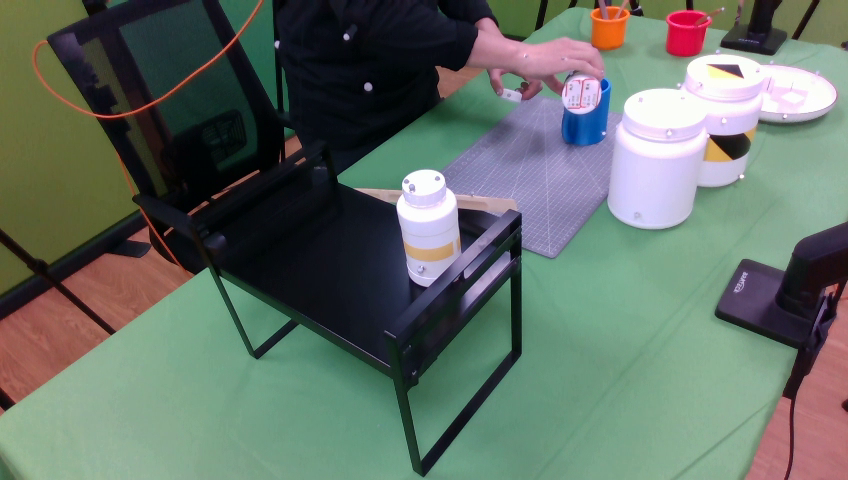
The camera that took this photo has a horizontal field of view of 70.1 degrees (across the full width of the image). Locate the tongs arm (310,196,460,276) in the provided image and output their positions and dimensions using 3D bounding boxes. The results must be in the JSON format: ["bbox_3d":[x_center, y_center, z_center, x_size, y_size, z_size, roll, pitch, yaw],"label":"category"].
[{"bbox_3d":[-0.078,-0.012,0.944,0.028,0.028,0.384,-43,39,-23],"label":"tongs arm"}]

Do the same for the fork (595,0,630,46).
[{"bbox_3d":[0.480,-0.556,1.453,0.028,0.019,0.207,41,103,40],"label":"fork"}]

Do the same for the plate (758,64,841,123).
[{"bbox_3d":[0.694,-0.283,1.189,0.207,0.039,0.206,-4,40,4],"label":"plate"}]

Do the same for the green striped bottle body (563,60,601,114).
[{"bbox_3d":[0.274,-0.268,1.044,0.063,0.063,0.119,4,35,13],"label":"green striped bottle body"}]

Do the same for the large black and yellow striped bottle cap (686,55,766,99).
[{"bbox_3d":[0.474,-0.258,0.952,0.115,0.019,0.114,-5,41,5],"label":"large black and yellow striped bottle cap"}]

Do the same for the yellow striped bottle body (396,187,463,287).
[{"bbox_3d":[0.006,-0.013,0.638,0.063,0.121,0.062,-5,41,5],"label":"yellow striped bottle body"}]

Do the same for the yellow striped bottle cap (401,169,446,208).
[{"bbox_3d":[0.000,-0.052,0.605,0.044,0.019,0.044,-4,43,4],"label":"yellow striped bottle cap"}]

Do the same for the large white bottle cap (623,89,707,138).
[{"bbox_3d":[0.352,-0.187,0.886,0.115,0.018,0.114,-4,41,4],"label":"large white bottle cap"}]

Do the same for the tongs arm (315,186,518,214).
[{"bbox_3d":[-0.028,-0.060,0.988,0.382,0.027,0.051,9,45,36],"label":"tongs arm"}]

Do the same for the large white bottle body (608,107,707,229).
[{"bbox_3d":[0.361,-0.124,0.941,0.130,0.185,0.130,-5,41,4],"label":"large white bottle body"}]

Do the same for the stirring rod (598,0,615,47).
[{"bbox_3d":[0.437,-0.551,1.462,0.014,0.006,0.175,-11,83,1],"label":"stirring rod"}]

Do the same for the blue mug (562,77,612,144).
[{"bbox_3d":[0.298,-0.240,1.143,0.117,0.106,0.081,-36,48,-29],"label":"blue mug"}]

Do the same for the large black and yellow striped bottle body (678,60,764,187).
[{"bbox_3d":[0.482,-0.196,1.008,0.131,0.185,0.130,-4,41,4],"label":"large black and yellow striped bottle body"}]

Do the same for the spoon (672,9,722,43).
[{"bbox_3d":[0.606,-0.476,1.345,0.042,0.021,0.193,-6,-3,-2],"label":"spoon"}]

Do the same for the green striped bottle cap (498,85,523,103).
[{"bbox_3d":[0.165,-0.277,1.150,0.044,0.020,0.044,21,17,-6],"label":"green striped bottle cap"}]
